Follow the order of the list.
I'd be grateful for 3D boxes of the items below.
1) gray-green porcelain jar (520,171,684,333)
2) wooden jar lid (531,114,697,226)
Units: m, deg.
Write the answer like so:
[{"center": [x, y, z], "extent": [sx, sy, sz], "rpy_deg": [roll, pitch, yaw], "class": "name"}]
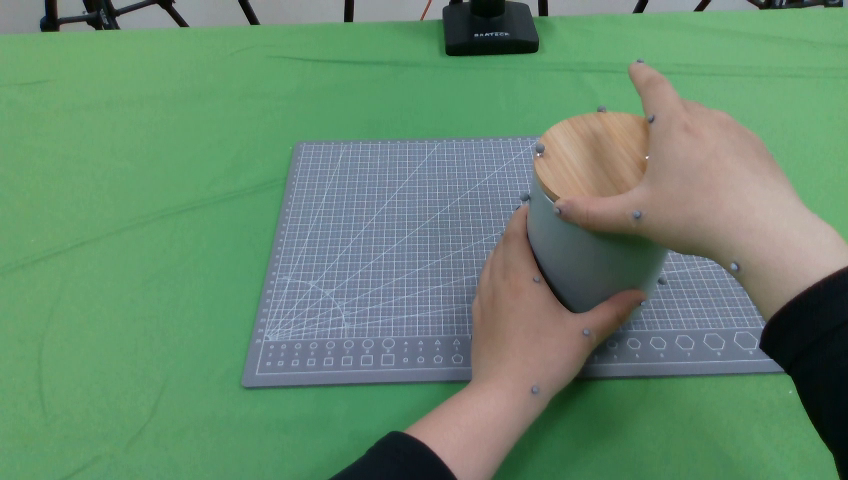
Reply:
[{"center": [0.128, 0.000, 0.458], "extent": [0.106, 0.127, 0.105], "rpy_deg": [-1, 46, 1], "class": "gray-green porcelain jar"}, {"center": [0.127, -0.046, 0.412], "extent": [0.108, 0.021, 0.107], "rpy_deg": [-2, 47, 3], "class": "wooden jar lid"}]
